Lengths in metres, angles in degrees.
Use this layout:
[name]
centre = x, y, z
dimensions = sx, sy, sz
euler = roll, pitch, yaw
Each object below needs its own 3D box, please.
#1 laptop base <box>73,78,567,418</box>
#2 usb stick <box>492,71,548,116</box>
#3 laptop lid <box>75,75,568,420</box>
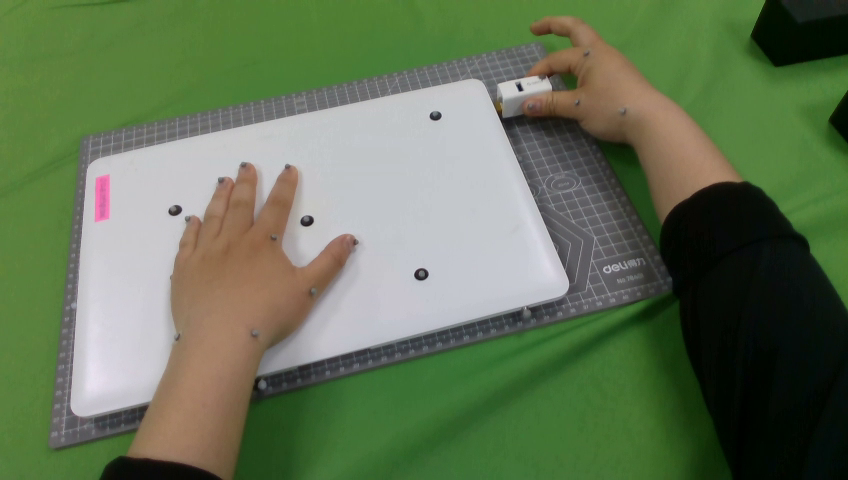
[laptop base]
centre = -0.092, -0.011, 0.484
dimensions = 0.355, 0.023, 0.233
euler = -14, 60, -5
[usb stick]
centre = 0.079, -0.127, 0.533
dimensions = 0.059, 0.027, 0.021
euler = -16, 51, 2
[laptop lid]
centre = -0.092, -0.015, 0.475
dimensions = 0.357, 0.013, 0.239
euler = -12, 59, -4
